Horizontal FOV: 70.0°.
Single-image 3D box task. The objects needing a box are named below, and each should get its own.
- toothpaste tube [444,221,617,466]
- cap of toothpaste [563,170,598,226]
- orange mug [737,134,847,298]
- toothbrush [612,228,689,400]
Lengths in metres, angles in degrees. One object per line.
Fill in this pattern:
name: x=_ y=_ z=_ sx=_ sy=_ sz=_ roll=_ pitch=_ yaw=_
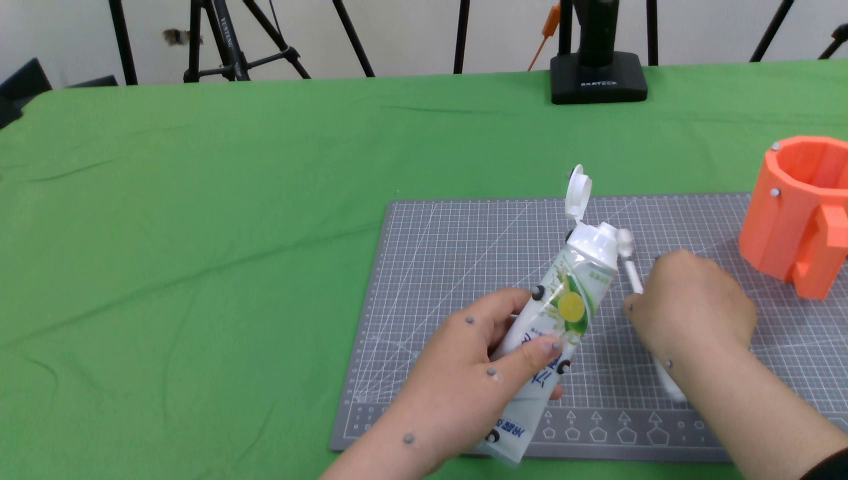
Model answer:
toothpaste tube: x=0.073 y=0.061 z=0.381 sx=0.055 sy=0.165 sz=0.034 roll=28 pitch=6 yaw=8
cap of toothpaste: x=0.099 y=-0.026 z=0.381 sx=0.011 sy=0.038 sz=0.037 roll=17 pitch=47 yaw=32
orange mug: x=0.320 y=-0.017 z=0.503 sx=0.083 sy=0.102 sz=0.125 roll=5 pitch=39 yaw=14
toothbrush: x=0.185 y=0.053 z=0.506 sx=0.014 sy=0.017 sz=0.180 roll=-5 pitch=43 yaw=1
